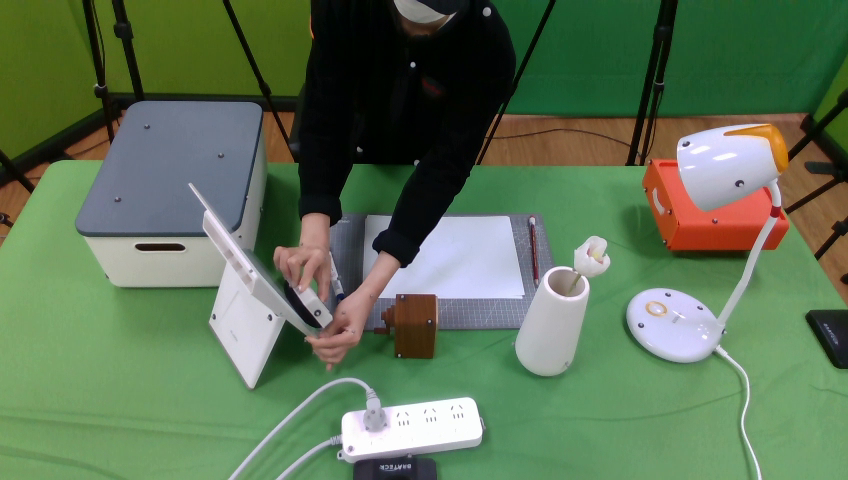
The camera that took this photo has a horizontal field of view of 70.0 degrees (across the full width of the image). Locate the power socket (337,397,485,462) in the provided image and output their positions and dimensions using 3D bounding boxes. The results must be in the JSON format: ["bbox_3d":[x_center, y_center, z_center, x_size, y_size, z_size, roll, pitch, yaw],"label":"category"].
[{"bbox_3d":[-0.018,0.285,0.915,0.227,0.033,0.071,-5,46,-8],"label":"power socket"}]

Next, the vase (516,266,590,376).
[{"bbox_3d":[0.208,0.132,0.964,0.098,0.201,0.097,3,46,-3],"label":"vase"}]

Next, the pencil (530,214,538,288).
[{"bbox_3d":[0.218,0.019,1.201,0.012,0.012,0.193,5,48,1],"label":"pencil"}]

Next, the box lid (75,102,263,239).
[{"bbox_3d":[-0.443,-0.138,1.094,0.263,0.015,0.369,-1,47,-5],"label":"box lid"}]

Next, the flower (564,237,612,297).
[{"bbox_3d":[0.206,0.088,0.892,0.038,0.363,0.044,-16,67,-9],"label":"flower"}]

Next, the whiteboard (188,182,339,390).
[{"bbox_3d":[-0.292,0.096,0.929,0.144,0.307,0.216,-38,57,-10],"label":"whiteboard"}]

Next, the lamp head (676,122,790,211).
[{"bbox_3d":[0.423,-0.104,0.819,0.122,0.113,0.112,-13,33,40],"label":"lamp head"}]

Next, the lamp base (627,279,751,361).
[{"bbox_3d":[0.459,0.100,1.027,0.178,0.181,0.160,27,51,17],"label":"lamp base"}]

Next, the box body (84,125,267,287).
[{"bbox_3d":[-0.446,-0.088,1.150,0.254,0.161,0.361,-1,46,-5],"label":"box body"}]

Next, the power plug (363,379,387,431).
[{"bbox_3d":[-0.072,0.252,0.910,0.035,0.053,0.072,3,44,-1],"label":"power plug"}]

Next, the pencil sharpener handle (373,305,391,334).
[{"bbox_3d":[-0.068,0.133,0.989,0.030,0.068,0.036,1,47,-2],"label":"pencil sharpener handle"}]

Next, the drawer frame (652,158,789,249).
[{"bbox_3d":[0.571,-0.075,1.214,0.214,0.083,0.200,0,46,-1],"label":"drawer frame"}]

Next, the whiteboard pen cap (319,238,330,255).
[{"bbox_3d":[-0.191,0.013,1.163,0.018,0.018,0.033,-13,50,-16],"label":"whiteboard pen cap"}]

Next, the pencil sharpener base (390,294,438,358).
[{"bbox_3d":[-0.018,0.143,1.000,0.077,0.107,0.061,1,46,-2],"label":"pencil sharpener base"}]

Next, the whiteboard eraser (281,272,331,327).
[{"bbox_3d":[-0.187,0.094,0.943,0.042,0.056,0.112,-43,33,-9],"label":"whiteboard eraser"}]

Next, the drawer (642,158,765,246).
[{"bbox_3d":[0.566,-0.076,1.211,0.212,0.073,0.193,2,45,-2],"label":"drawer"}]
